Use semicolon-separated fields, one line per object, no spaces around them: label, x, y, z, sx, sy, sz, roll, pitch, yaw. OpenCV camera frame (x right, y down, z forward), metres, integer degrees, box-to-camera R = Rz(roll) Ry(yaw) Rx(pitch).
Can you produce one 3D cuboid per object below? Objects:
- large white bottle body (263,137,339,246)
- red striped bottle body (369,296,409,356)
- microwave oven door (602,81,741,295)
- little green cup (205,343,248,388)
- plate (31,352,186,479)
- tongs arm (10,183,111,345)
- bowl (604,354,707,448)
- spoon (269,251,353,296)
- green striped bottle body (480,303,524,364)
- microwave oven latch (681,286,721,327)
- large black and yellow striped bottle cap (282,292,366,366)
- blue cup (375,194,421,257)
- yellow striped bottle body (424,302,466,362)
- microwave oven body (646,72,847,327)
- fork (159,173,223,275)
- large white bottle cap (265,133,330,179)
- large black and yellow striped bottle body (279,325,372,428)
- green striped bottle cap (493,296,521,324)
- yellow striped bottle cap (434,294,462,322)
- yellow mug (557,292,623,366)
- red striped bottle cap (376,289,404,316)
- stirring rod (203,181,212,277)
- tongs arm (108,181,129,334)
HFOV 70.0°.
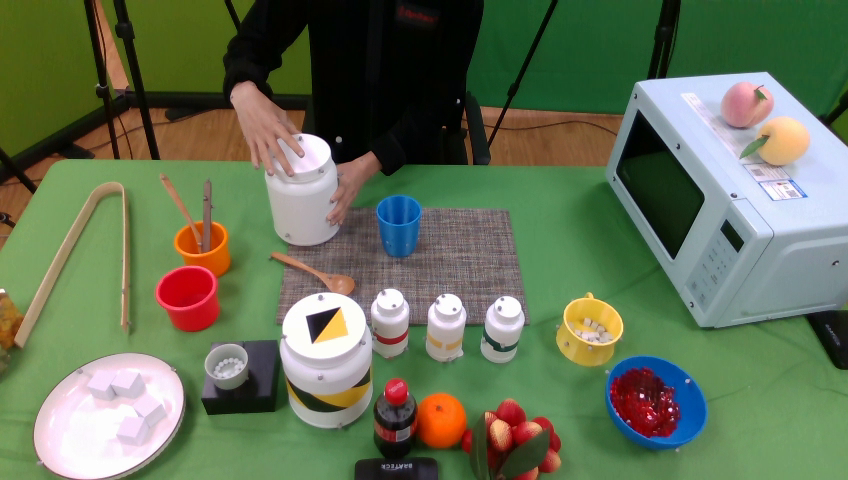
large white bottle body;-0.232;-0.093;1.150;0.131;0.185;0.130;2;46;-2
red striped bottle body;-0.059;0.134;0.997;0.063;0.120;0.062;5;48;-5
microwave oven door;0.456;-0.107;1.162;0.039;0.245;0.353;-7;47;-11
little green cup;-0.294;0.191;0.909;0.061;0.039;0.061;1;48;-1
plate;-0.459;0.262;0.898;0.209;0.038;0.208;2;46;-2
tongs arm;-0.658;0.027;1.109;0.028;0.028;0.385;-2;45;2
bowl;0.346;0.261;0.937;0.151;0.077;0.150;2;46;-2
spoon;-0.212;0.057;1.121;0.193;0.022;0.041;24;74;18
green striped bottle body;0.129;0.147;1.000;0.063;0.120;0.063;2;46;-2
microwave oven latch;0.494;0.119;1.086;0.030;0.029;0.078;-5;46;-9
large black and yellow striped bottle cap;-0.138;0.121;0.841;0.115;0.019;0.114;3;47;-3
blue cup;-0.050;-0.022;1.155;0.093;0.101;0.092;1;46;-1
yellow striped bottle body;0.035;0.143;0.995;0.063;0.121;0.062;3;46;-3
microwave oven body;0.607;-0.089;1.164;0.326;0.261;0.438;-7;46;-10
fork;-0.427;-0.029;1.104;0.028;0.018;0.207;-31;99;-29
large white bottle cap;-0.226;-0.152;1.089;0.115;0.018;0.114;3;46;-2
large black and yellow striped bottle body;-0.143;0.181;0.900;0.131;0.185;0.130;2;46;-2
green striped bottle cap;0.133;0.111;0.962;0.044;0.020;0.044;2;47;-2
yellow striped bottle cap;0.038;0.107;0.958;0.044;0.019;0.044;2;45;-2
yellow mug;0.285;0.145;1.051;0.100;0.064;0.130;7;46;4
red striped bottle cap;-0.054;0.098;0.958;0.044;0.018;0.044;0;48;0
stirring rod;-0.396;-0.021;1.108;0.014;0.006;0.176;-1;89;-2
tongs arm;-0.571;0.019;1.123;0.051;0.026;0.382;-10;47;-12
